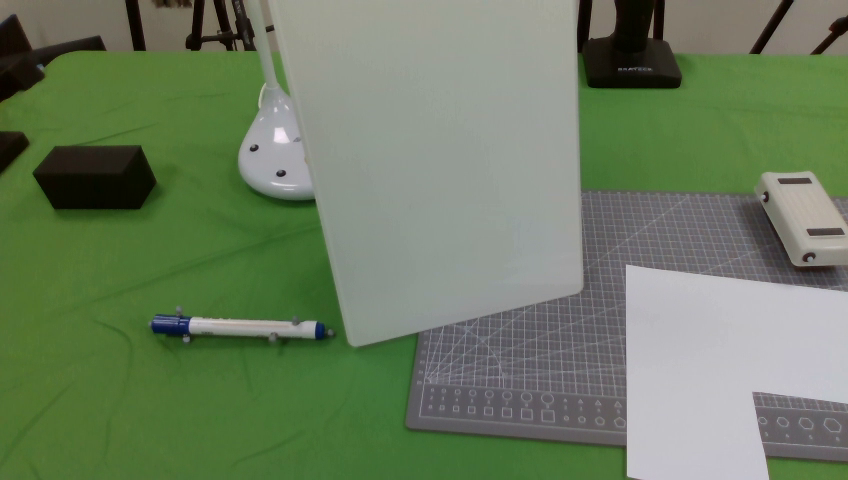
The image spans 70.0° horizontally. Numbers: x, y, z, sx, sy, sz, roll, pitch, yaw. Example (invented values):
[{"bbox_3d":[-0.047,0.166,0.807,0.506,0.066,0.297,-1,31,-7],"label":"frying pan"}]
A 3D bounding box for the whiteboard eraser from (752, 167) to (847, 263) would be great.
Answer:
[{"bbox_3d":[0.358,-0.023,0.576,0.055,0.042,0.111,1,44,2],"label":"whiteboard eraser"}]

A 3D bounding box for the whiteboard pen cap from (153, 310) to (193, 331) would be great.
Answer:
[{"bbox_3d":[-0.216,0.070,0.528,0.033,0.018,0.018,4,44,-1],"label":"whiteboard pen cap"}]

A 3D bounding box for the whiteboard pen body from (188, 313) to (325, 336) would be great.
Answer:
[{"bbox_3d":[-0.157,0.073,0.527,0.141,0.017,0.017,2,44,1],"label":"whiteboard pen body"}]

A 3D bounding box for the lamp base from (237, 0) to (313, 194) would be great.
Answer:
[{"bbox_3d":[-0.149,-0.168,0.661,0.160,0.182,0.177,-33,49,-27],"label":"lamp base"}]

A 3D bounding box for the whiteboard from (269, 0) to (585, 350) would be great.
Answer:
[{"bbox_3d":[0.006,-0.093,0.526,0.217,0.308,0.142,-12,25,-8],"label":"whiteboard"}]
